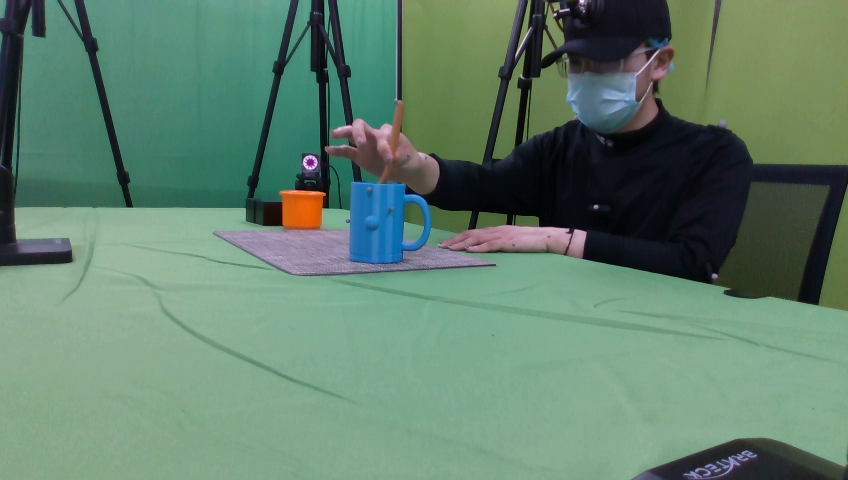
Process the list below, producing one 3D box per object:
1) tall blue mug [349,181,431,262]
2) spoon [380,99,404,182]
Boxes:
[{"bbox_3d":[-0.051,-0.028,0.849,0.108,0.108,0.077,-1,7,-22],"label":"tall blue mug"},{"bbox_3d":[-0.052,-0.102,0.853,0.042,0.193,0.021,8,11,-42],"label":"spoon"}]
